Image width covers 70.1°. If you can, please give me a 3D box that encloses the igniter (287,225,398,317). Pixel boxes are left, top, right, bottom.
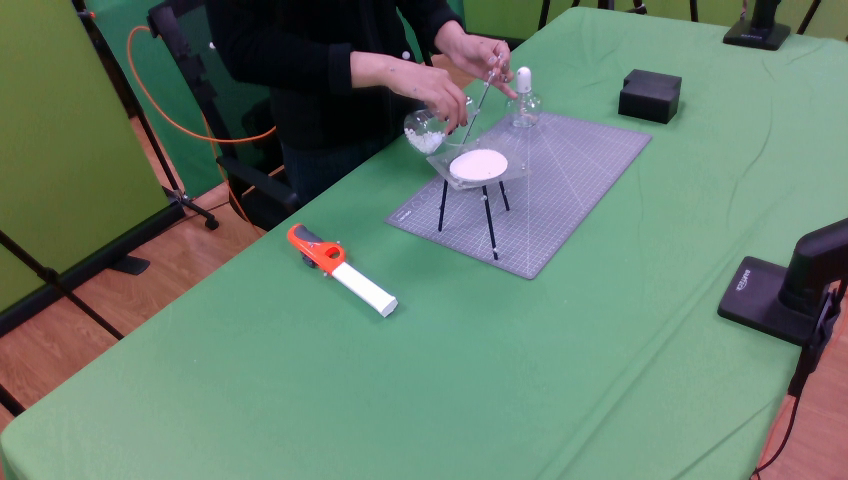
[{"bbox_3d":[-0.139,0.041,0.957,0.057,0.025,0.274,-42,49,-19],"label":"igniter"}]

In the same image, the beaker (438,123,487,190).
[{"bbox_3d":[0.072,-0.147,1.080,0.084,0.101,0.073,-5,40,7],"label":"beaker"}]

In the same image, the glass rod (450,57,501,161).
[{"bbox_3d":[0.086,-0.218,1.032,0.008,0.199,0.008,22,21,-8],"label":"glass rod"}]

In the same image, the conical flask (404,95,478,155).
[{"bbox_3d":[0.032,-0.196,0.992,0.122,0.075,0.074,-34,46,-24],"label":"conical flask"}]

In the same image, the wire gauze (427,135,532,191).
[{"bbox_3d":[0.081,-0.115,0.909,0.125,0.011,0.120,-18,39,-11],"label":"wire gauze"}]

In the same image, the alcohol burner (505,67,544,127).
[{"bbox_3d":[0.201,-0.288,1.211,0.078,0.119,0.077,-6,38,5],"label":"alcohol burner"}]

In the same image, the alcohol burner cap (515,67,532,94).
[{"bbox_3d":[0.197,-0.315,1.187,0.034,0.048,0.033,-3,46,3],"label":"alcohol burner cap"}]

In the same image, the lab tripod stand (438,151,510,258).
[{"bbox_3d":[0.087,-0.064,0.952,0.148,0.132,0.147,-6,38,5],"label":"lab tripod stand"}]
